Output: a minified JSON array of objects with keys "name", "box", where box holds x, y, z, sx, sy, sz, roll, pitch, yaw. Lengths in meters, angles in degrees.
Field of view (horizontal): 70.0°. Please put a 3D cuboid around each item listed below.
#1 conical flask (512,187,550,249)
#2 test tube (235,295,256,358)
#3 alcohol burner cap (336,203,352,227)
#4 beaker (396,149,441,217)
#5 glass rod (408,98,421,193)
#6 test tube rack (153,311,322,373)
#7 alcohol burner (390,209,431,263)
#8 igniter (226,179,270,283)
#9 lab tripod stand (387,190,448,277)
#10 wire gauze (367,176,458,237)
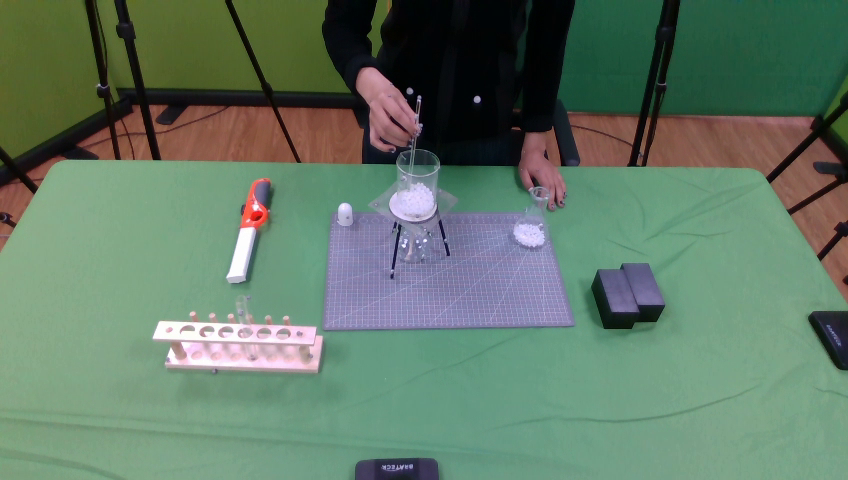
[{"name":"conical flask","box":[0.217,-0.048,1.190,0.075,0.122,0.075,2,46,-2]},{"name":"test tube","box":[-0.274,0.136,0.933,0.017,0.151,0.017,4,46,-4]},{"name":"alcohol burner cap","box":[-0.162,-0.053,1.221,0.034,0.048,0.033,2,46,-2]},{"name":"beaker","box":[-0.015,-0.098,1.054,0.074,0.101,0.083,-32,55,-31]},{"name":"glass rod","box":[-0.017,-0.153,1.025,0.008,0.200,0.008,4,47,-4]},{"name":"test tube rack","box":[-0.293,0.160,0.978,0.242,0.085,0.066,3,46,-2]},{"name":"alcohol burner","box":[-0.024,-0.014,1.145,0.078,0.119,0.077,4,44,-3]},{"name":"igniter","box":[-0.345,-0.027,1.195,0.057,0.025,0.274,-6,46,5]},{"name":"lab tripod stand","box":[-0.021,-0.018,1.135,0.148,0.132,0.147,3,44,-3]},{"name":"wire gauze","box":[-0.020,-0.066,1.089,0.124,0.011,0.121,27,47,22]}]
